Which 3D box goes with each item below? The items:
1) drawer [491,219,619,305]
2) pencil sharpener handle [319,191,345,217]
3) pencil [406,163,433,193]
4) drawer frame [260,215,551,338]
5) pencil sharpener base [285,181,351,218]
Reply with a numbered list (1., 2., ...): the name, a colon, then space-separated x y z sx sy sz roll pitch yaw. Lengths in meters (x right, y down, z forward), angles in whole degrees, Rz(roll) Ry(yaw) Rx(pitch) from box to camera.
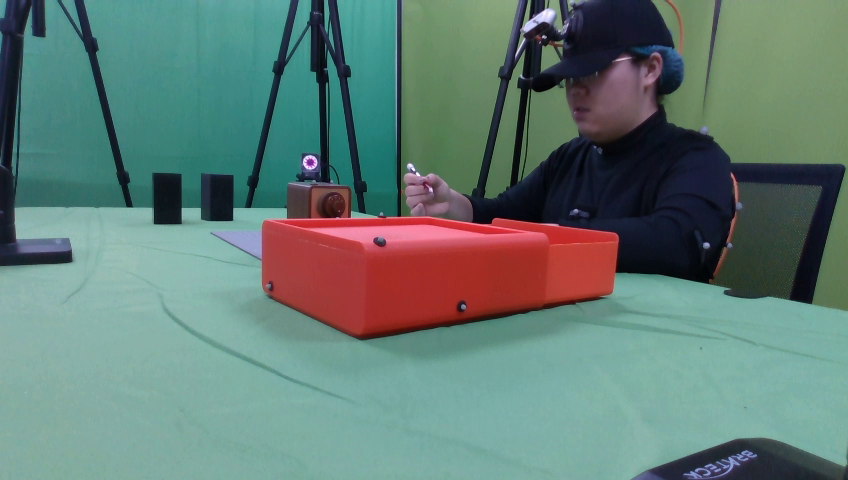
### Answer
1. drawer: 0.071 0.021 0.669 0.213 0.073 0.193 -3 10 -39
2. pencil sharpener handle: -0.107 -0.026 0.748 0.036 0.067 0.030 -6 11 -36
3. pencil: -0.008 -0.114 1.117 0.012 0.012 0.193 1 21 -16
4. drawer frame: -0.021 0.023 0.595 0.215 0.082 0.200 -4 10 -38
5. pencil sharpener base: -0.139 -0.021 0.789 0.062 0.107 0.076 -2 9 -36
